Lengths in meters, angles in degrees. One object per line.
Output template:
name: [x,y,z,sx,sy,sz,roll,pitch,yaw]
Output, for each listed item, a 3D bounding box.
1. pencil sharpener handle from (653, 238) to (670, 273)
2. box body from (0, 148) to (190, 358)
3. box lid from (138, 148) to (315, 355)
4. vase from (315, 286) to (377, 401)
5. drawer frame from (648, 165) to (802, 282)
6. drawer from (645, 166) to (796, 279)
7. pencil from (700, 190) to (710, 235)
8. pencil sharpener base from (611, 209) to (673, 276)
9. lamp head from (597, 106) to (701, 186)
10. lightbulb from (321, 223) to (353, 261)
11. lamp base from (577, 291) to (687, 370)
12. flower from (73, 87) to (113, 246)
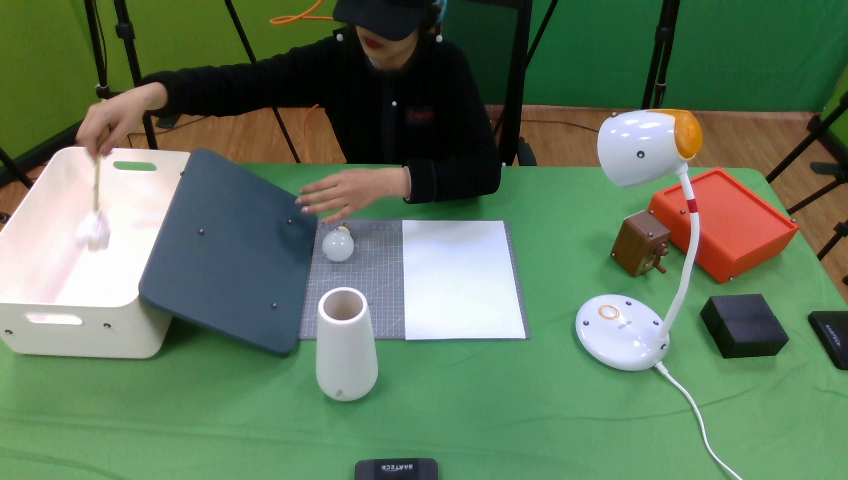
pencil sharpener handle: [0.444,0.030,1.120,0.036,0.068,0.030,-25,52,-18]
box body: [-0.546,0.017,1.045,0.254,0.161,0.361,2,46,-2]
box lid: [-0.321,0.008,1.063,0.264,0.015,0.369,30,38,-28]
vase: [-0.119,0.159,0.911,0.098,0.201,0.097,2,47,-2]
drawer frame: [0.603,-0.040,1.233,0.202,0.083,0.212,-21,51,-23]
drawer: [0.600,-0.041,1.236,0.195,0.073,0.210,-21,51,-23]
pencil: [0.584,-0.059,1.256,0.012,0.012,0.193,16,34,12]
pencil sharpener base: [0.416,0.007,1.158,0.061,0.107,0.076,-21,51,-22]
lamp head: [0.328,-0.138,0.865,0.112,0.113,0.122,-36,20,-32]
lightbulb: [-0.163,-0.001,1.164,0.059,0.060,0.107,4,30,0]
lamp base: [0.361,0.110,1.003,0.160,0.181,0.178,-31,57,-28]
flower: [-0.503,-0.133,0.947,0.038,0.044,0.359,-36,47,21]
